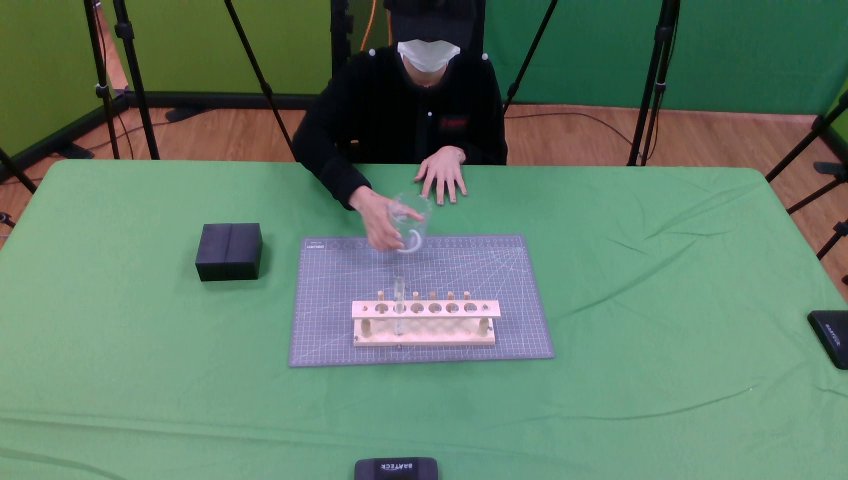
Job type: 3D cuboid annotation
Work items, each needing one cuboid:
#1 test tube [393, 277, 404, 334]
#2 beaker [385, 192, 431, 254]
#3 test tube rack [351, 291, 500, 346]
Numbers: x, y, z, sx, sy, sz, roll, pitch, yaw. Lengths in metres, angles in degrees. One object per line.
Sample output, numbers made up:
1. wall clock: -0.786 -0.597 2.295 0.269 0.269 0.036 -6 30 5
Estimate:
1. test tube: -0.041 0.108 0.973 0.017 0.151 0.017 2 50 -2
2. beaker: -0.031 -0.029 1.092 0.084 0.100 0.073 -19 60 -21
3. test tube rack: 0.001 0.129 1.026 0.242 0.085 0.066 0 46 -4
